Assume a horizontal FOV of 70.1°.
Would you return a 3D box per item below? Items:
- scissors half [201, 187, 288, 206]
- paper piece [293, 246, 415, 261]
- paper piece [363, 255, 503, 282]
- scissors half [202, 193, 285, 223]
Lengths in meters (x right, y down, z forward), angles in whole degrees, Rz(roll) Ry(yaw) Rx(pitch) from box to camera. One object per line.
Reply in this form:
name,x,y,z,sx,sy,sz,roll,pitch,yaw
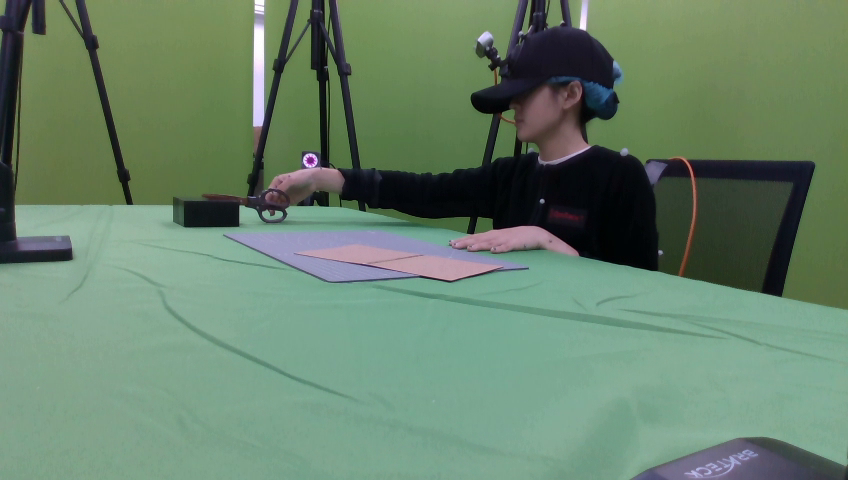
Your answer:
scissors half,-0.360,-0.088,1.223,0.176,0.040,0.012,-3,21,-32
paper piece,-0.096,0.020,0.873,0.137,0.008,0.137,6,4,35
paper piece,0.014,0.034,0.799,0.135,0.004,0.136,8,10,35
scissors half,-0.365,-0.069,1.228,0.176,0.040,0.013,17,5,-35
